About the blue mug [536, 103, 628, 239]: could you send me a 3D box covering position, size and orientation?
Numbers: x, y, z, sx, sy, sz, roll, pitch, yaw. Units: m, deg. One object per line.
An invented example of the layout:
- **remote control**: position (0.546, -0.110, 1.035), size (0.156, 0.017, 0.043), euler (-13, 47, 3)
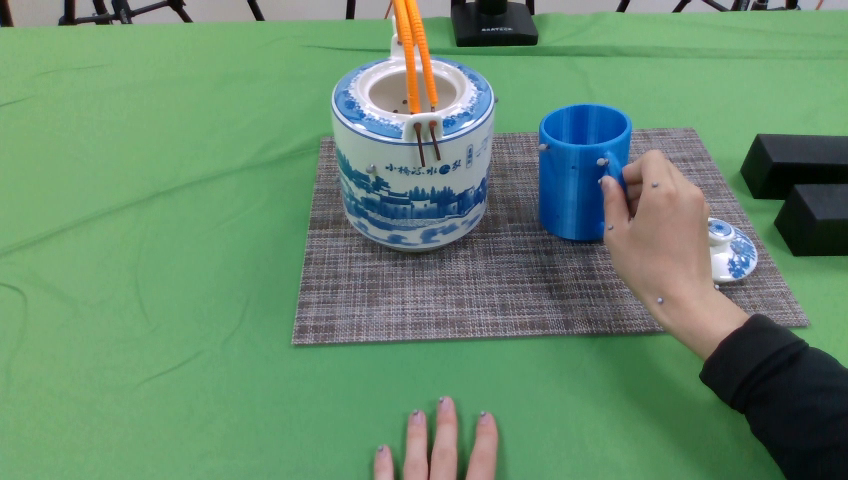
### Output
- **blue mug**: position (0.155, -0.057, 0.572), size (0.082, 0.107, 0.115), euler (-16, 40, -9)

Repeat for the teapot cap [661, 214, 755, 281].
- **teapot cap**: position (0.267, 0.001, 0.567), size (0.085, 0.044, 0.084), euler (1, 44, -1)

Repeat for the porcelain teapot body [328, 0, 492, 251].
- **porcelain teapot body**: position (-0.017, -0.127, 0.567), size (0.145, 0.227, 0.203), euler (-7, 45, -7)
